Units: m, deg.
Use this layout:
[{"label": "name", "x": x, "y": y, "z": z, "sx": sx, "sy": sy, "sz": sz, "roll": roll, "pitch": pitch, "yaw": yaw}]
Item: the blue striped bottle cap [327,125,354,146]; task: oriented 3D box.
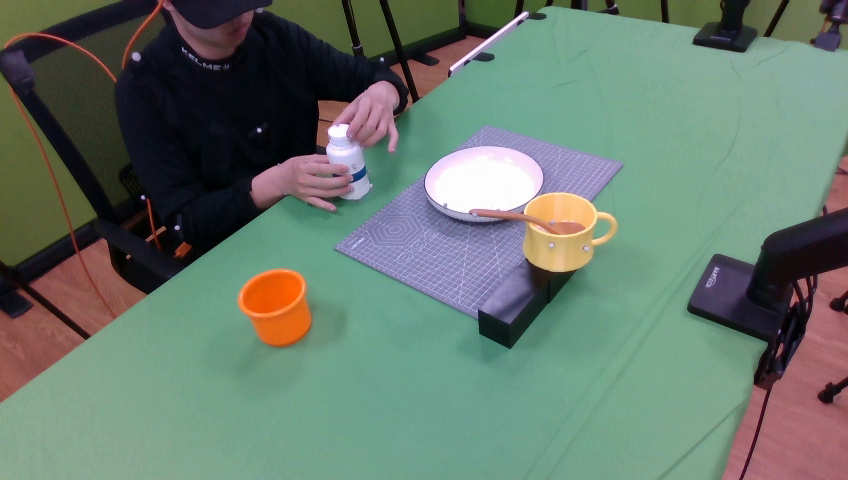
[{"label": "blue striped bottle cap", "x": -0.143, "y": -0.179, "z": 1.032, "sx": 0.044, "sy": 0.021, "sz": 0.044, "roll": -1, "pitch": 36, "yaw": 1}]

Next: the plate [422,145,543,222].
[{"label": "plate", "x": 0.101, "y": -0.094, "z": 1.048, "sx": 0.207, "sy": 0.039, "sz": 0.206, "roll": -4, "pitch": 41, "yaw": 4}]

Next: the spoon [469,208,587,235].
[{"label": "spoon", "x": 0.143, "y": -0.026, "z": 0.817, "sx": 0.195, "sy": 0.021, "sz": 0.041, "roll": 12, "pitch": 34, "yaw": -29}]

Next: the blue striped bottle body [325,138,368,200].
[{"label": "blue striped bottle body", "x": -0.138, "y": -0.136, "z": 1.071, "sx": 0.063, "sy": 0.121, "sz": 0.063, "roll": -4, "pitch": 41, "yaw": 3}]

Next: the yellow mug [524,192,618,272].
[{"label": "yellow mug", "x": 0.206, "y": -0.013, "z": 0.845, "sx": 0.131, "sy": 0.064, "sz": 0.099, "roll": -4, "pitch": 40, "yaw": 2}]
